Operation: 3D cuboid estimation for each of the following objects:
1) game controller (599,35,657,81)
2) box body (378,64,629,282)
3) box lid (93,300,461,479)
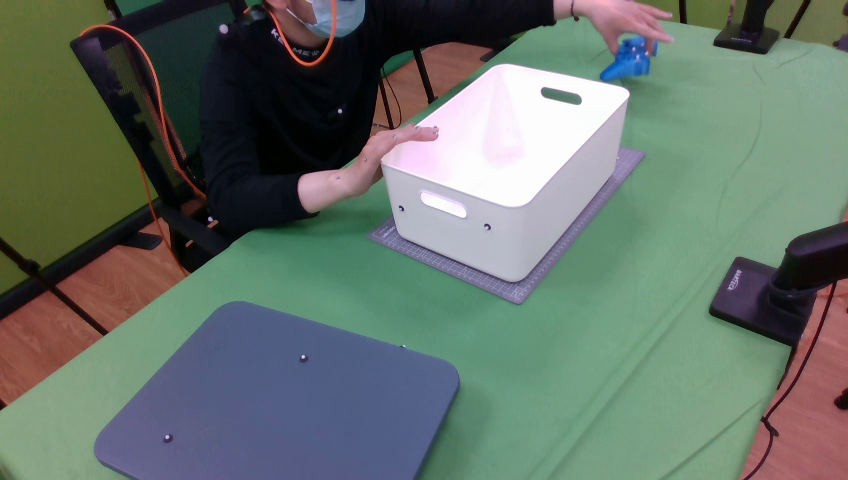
[{"bbox_3d":[0.426,-0.384,1.255,0.096,0.052,0.155,5,40,29],"label":"game controller"},{"bbox_3d":[0.137,-0.121,0.978,0.252,0.161,0.365,22,48,30],"label":"box body"},{"bbox_3d":[-0.164,0.200,0.701,0.369,0.015,0.263,13,44,21],"label":"box lid"}]
